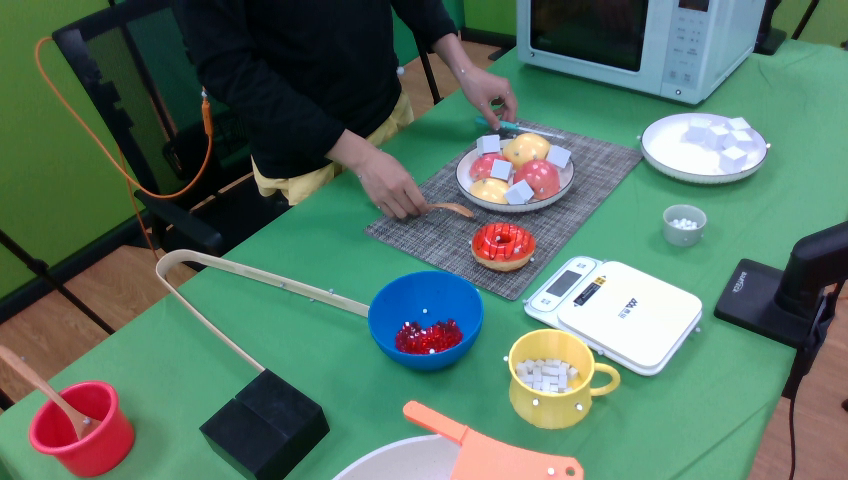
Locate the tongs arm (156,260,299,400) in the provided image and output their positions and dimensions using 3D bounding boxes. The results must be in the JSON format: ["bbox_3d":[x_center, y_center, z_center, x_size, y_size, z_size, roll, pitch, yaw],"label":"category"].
[{"bbox_3d":[-0.295,0.120,0.868,0.384,0.028,0.028,28,57,36],"label":"tongs arm"}]

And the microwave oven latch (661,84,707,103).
[{"bbox_3d":[0.517,-0.296,1.204,0.078,0.029,0.030,27,52,35],"label":"microwave oven latch"}]

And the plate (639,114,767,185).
[{"bbox_3d":[0.489,-0.157,1.074,0.207,0.039,0.206,-4,40,4],"label":"plate"}]

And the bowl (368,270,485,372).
[{"bbox_3d":[0.007,0.119,0.791,0.151,0.077,0.150,-5,40,4],"label":"bowl"}]

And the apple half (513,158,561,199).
[{"bbox_3d":[0.193,-0.111,1.031,0.080,0.053,0.075,11,41,26],"label":"apple half"}]

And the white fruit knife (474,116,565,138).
[{"bbox_3d":[0.182,-0.221,1.186,0.206,0.016,0.027,19,22,32],"label":"white fruit knife"}]

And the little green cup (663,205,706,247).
[{"bbox_3d":[0.396,-0.020,0.926,0.061,0.039,0.061,-4,40,4],"label":"little green cup"}]

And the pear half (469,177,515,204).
[{"bbox_3d":[0.115,-0.090,1.036,0.087,0.031,0.071,29,39,32],"label":"pear half"}]

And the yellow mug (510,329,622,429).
[{"bbox_3d":[0.168,0.164,0.721,0.130,0.064,0.099,0,40,8],"label":"yellow mug"}]

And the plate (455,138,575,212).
[{"bbox_3d":[0.159,-0.111,1.063,0.209,0.038,0.208,-4,40,4],"label":"plate"}]

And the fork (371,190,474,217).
[{"bbox_3d":[-0.007,-0.063,1.025,0.206,0.018,0.028,12,13,31],"label":"fork"}]

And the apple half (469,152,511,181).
[{"bbox_3d":[0.119,-0.138,1.088,0.081,0.033,0.081,-1,45,2],"label":"apple half"}]

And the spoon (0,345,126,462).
[{"bbox_3d":[-0.434,0.192,0.720,0.194,0.021,0.042,47,53,-7],"label":"spoon"}]

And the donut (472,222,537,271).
[{"bbox_3d":[0.123,0.008,0.923,0.099,0.048,0.098,-3,38,3],"label":"donut"}]

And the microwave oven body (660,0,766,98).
[{"bbox_3d":[0.472,-0.513,1.317,0.438,0.261,0.327,26,51,34],"label":"microwave oven body"}]

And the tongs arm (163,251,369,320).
[{"bbox_3d":[-0.247,0.072,0.917,0.382,0.026,0.051,16,48,26],"label":"tongs arm"}]

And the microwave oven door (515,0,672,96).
[{"bbox_3d":[0.343,-0.454,1.259,0.353,0.245,0.039,26,51,33],"label":"microwave oven door"}]

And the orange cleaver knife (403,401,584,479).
[{"bbox_3d":[0.062,0.222,0.609,0.210,0.012,0.077,15,49,25],"label":"orange cleaver knife"}]

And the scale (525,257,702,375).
[{"bbox_3d":[0.254,0.091,0.821,0.199,0.032,0.149,28,51,35],"label":"scale"}]

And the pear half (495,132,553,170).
[{"bbox_3d":[0.174,-0.167,1.094,0.109,0.056,0.076,15,53,30],"label":"pear half"}]

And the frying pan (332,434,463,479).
[{"bbox_3d":[-0.089,0.306,0.564,0.487,0.103,0.306,10,41,7],"label":"frying pan"}]
